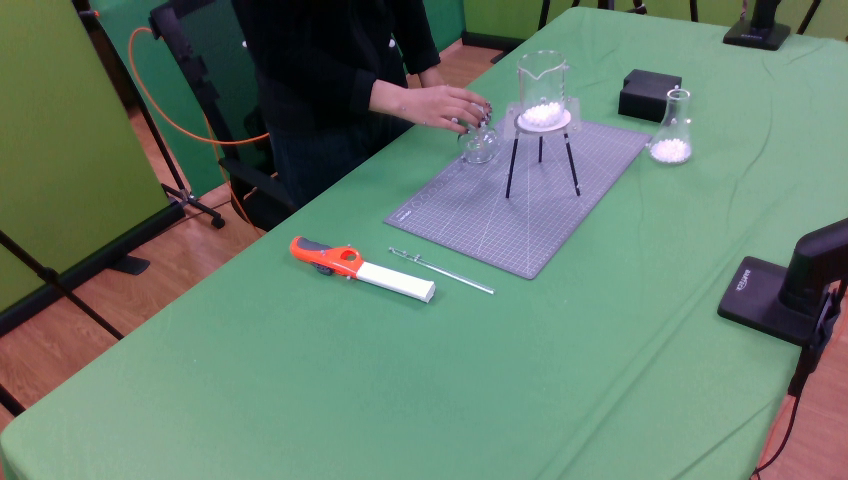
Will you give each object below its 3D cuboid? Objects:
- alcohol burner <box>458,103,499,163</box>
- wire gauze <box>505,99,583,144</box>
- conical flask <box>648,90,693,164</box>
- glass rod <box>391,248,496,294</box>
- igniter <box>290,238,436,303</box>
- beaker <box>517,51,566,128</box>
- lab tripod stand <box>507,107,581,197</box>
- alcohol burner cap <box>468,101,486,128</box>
[{"bbox_3d":[0.100,-0.205,1.132,0.078,0.120,0.077,-6,42,6],"label":"alcohol burner"},{"bbox_3d":[0.195,-0.199,0.988,0.121,0.011,0.124,-3,41,13],"label":"wire gauze"},{"bbox_3d":[0.437,-0.199,1.057,0.075,0.122,0.075,-5,40,5],"label":"conical flask"},{"bbox_3d":[0.026,0.045,0.937,0.198,0.008,0.008,21,49,31],"label":"glass rod"},{"bbox_3d":[-0.106,0.044,0.949,0.274,0.025,0.057,16,57,27],"label":"igniter"},{"bbox_3d":[0.186,-0.235,0.957,0.073,0.101,0.084,4,42,18],"label":"beaker"},{"bbox_3d":[0.201,-0.151,1.033,0.148,0.132,0.147,-7,39,6],"label":"lab tripod stand"},{"bbox_3d":[0.096,-0.232,1.107,0.034,0.048,0.033,-3,47,4],"label":"alcohol burner cap"}]
